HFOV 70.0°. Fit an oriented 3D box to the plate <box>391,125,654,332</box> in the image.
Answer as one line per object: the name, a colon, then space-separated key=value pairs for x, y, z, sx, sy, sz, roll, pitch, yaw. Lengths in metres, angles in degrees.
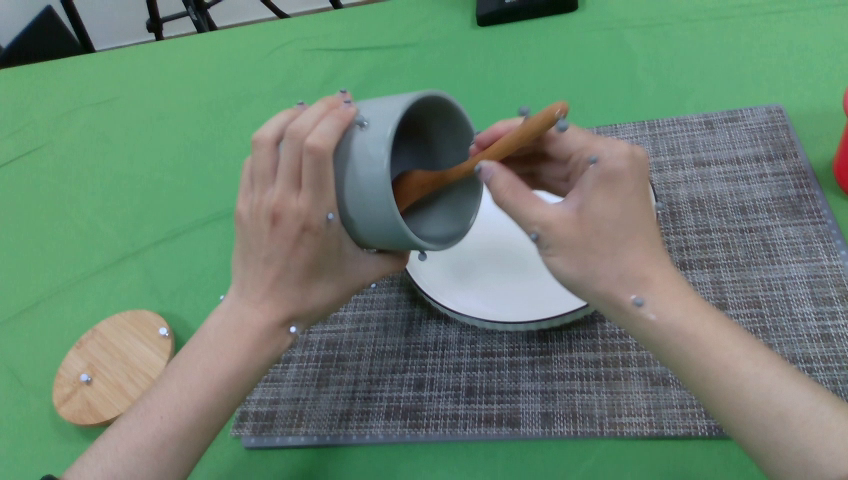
plate: x=0.077 y=-0.011 z=0.496 sx=0.207 sy=0.039 sz=0.205 roll=-8 pitch=50 yaw=10

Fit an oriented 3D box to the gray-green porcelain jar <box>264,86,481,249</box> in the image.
gray-green porcelain jar: x=-0.041 y=-0.048 z=0.429 sx=0.125 sy=0.107 sz=0.105 roll=2 pitch=51 yaw=38

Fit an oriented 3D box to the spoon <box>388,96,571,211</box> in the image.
spoon: x=0.022 y=-0.048 z=0.379 sx=0.193 sy=0.022 sz=0.041 roll=-19 pitch=45 yaw=52

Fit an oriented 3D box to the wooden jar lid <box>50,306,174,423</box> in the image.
wooden jar lid: x=-0.263 y=0.106 z=0.518 sx=0.108 sy=0.021 sz=0.107 roll=-7 pitch=51 yaw=9
